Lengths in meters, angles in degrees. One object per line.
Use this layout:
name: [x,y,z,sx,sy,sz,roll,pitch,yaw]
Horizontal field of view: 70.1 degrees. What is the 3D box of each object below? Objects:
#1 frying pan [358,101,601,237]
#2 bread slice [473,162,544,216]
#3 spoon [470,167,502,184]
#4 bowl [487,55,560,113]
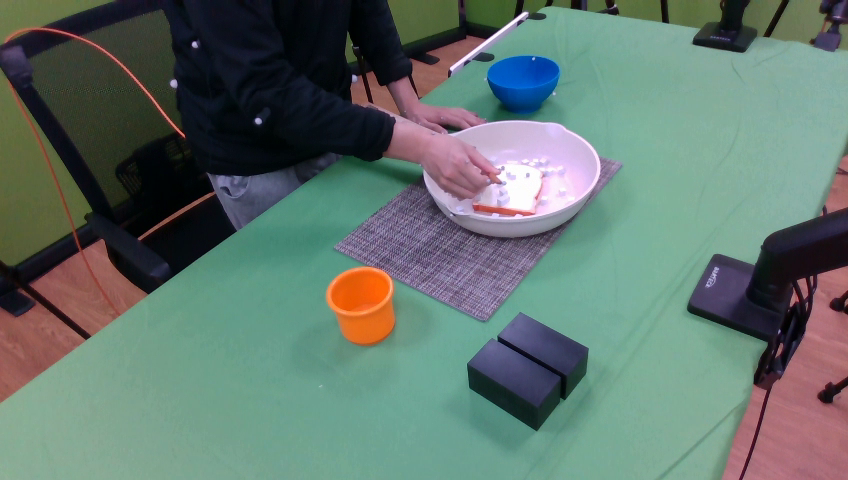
frying pan: [0.067,-0.153,1.067,0.484,0.103,0.308,32,52,26]
bread slice: [0.150,-0.089,1.041,0.106,0.018,0.134,8,44,16]
spoon: [0.101,-0.103,0.958,0.042,0.021,0.193,25,5,-6]
bowl: [0.207,-0.319,1.266,0.151,0.077,0.150,-4,41,4]
